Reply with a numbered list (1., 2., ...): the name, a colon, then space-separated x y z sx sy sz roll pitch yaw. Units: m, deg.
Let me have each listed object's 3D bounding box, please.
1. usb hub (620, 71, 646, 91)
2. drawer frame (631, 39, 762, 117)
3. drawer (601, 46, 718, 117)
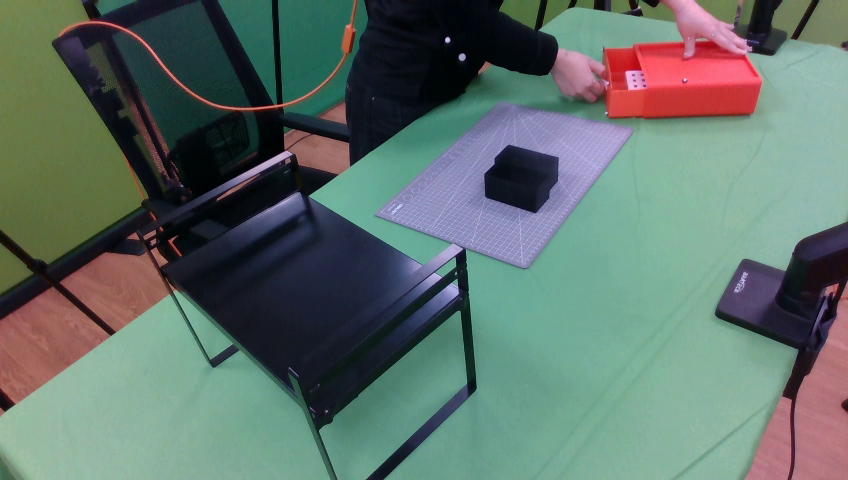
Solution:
1. usb hub: 0.438 -0.320 1.259 0.049 0.025 0.125 9 37 20
2. drawer frame: 0.540 -0.332 1.234 0.213 0.083 0.201 0 41 7
3. drawer: 0.476 -0.331 1.243 0.211 0.073 0.194 1 41 10
